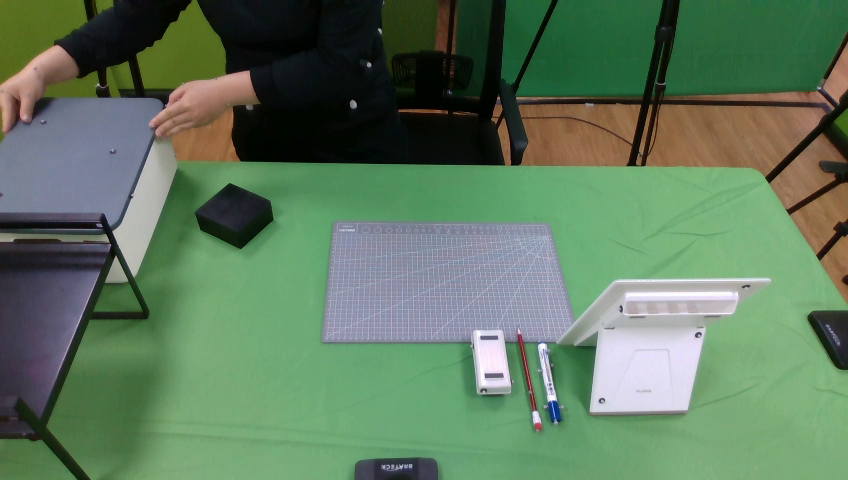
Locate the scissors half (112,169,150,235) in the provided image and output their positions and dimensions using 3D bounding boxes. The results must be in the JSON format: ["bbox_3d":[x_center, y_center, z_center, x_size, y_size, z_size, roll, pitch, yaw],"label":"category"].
[{"bbox_3d":[-0.596,-0.077,1.225,0.040,0.013,0.174,7,53,1],"label":"scissors half"}]

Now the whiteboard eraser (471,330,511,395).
[{"bbox_3d":[0.110,0.202,0.998,0.055,0.042,0.112,1,46,-5],"label":"whiteboard eraser"}]

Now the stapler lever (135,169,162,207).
[{"bbox_3d":[-0.555,-0.112,1.221,0.027,0.040,0.117,6,41,-13],"label":"stapler lever"}]

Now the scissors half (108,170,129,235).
[{"bbox_3d":[-0.617,-0.077,1.223,0.040,0.013,0.174,-14,54,-9],"label":"scissors half"}]

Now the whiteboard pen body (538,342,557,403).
[{"bbox_3d":[0.205,0.228,0.997,0.017,0.017,0.140,1,46,-3],"label":"whiteboard pen body"}]

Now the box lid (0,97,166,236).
[{"bbox_3d":[-0.632,-0.143,1.078,0.263,0.015,0.369,1,46,-6],"label":"box lid"}]

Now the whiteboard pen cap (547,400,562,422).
[{"bbox_3d":[0.205,0.269,0.956,0.018,0.018,0.033,0,48,-5],"label":"whiteboard pen cap"}]

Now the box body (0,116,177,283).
[{"bbox_3d":[-0.640,-0.095,1.140,0.254,0.161,0.361,1,46,-4],"label":"box body"}]

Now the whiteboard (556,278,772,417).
[{"bbox_3d":[0.347,0.174,0.903,0.217,0.306,0.143,1,65,-4],"label":"whiteboard"}]

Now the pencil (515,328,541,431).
[{"bbox_3d":[0.169,0.224,1.002,0.012,0.012,0.192,-2,46,-6],"label":"pencil"}]

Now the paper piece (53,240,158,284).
[{"bbox_3d":[-0.593,0.037,1.135,0.136,0.009,0.137,3,33,7],"label":"paper piece"}]
